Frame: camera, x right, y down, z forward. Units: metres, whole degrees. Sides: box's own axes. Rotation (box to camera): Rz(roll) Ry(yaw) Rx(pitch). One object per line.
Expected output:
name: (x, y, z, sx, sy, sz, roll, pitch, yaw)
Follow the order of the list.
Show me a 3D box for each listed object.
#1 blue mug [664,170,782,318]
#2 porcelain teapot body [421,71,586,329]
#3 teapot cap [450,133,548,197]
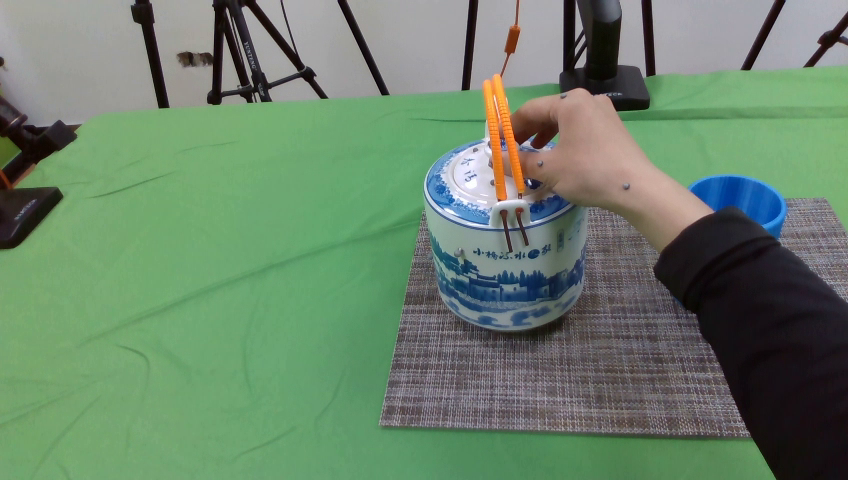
blue mug: (0.267, 0.012, 0.540, 0.082, 0.107, 0.115, -2, 41, 10)
porcelain teapot body: (0.070, -0.055, 0.565, 0.145, 0.227, 0.203, -6, 40, 4)
teapot cap: (0.064, -0.068, 0.518, 0.085, 0.044, 0.084, -3, 39, 3)
